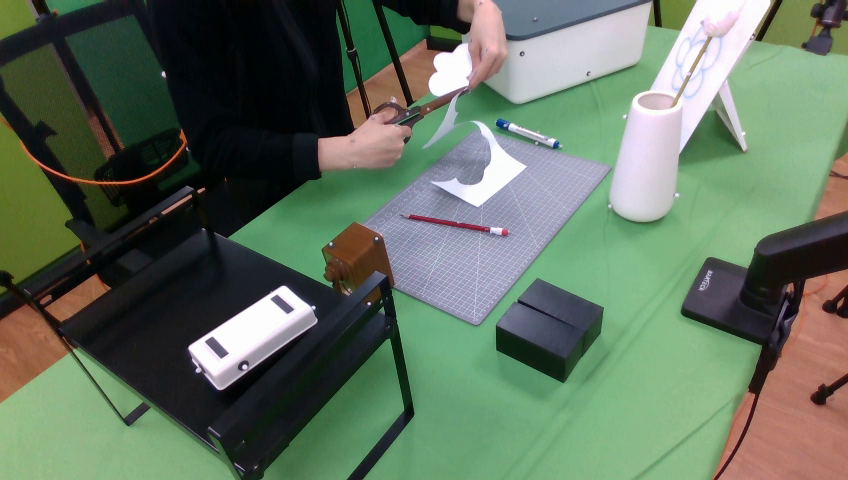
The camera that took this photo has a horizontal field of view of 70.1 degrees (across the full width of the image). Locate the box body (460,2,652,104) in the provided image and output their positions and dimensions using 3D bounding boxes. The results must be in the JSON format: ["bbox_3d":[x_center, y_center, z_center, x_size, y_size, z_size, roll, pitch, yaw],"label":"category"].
[{"bbox_3d":[0.291,-0.465,1.371,0.365,0.161,0.252,-22,42,-16],"label":"box body"}]

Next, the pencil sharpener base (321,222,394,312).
[{"bbox_3d":[-0.096,0.041,0.873,0.061,0.107,0.077,25,54,32],"label":"pencil sharpener base"}]

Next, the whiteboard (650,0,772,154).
[{"bbox_3d":[0.543,-0.298,1.076,0.144,0.305,0.216,12,40,-7],"label":"whiteboard"}]

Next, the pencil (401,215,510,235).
[{"bbox_3d":[0.049,-0.027,1.007,0.193,0.012,0.012,10,43,22],"label":"pencil"}]

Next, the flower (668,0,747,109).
[{"bbox_3d":[0.354,-0.187,0.879,0.038,0.362,0.044,30,48,14],"label":"flower"}]

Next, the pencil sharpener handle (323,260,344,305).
[{"bbox_3d":[-0.131,0.062,0.839,0.035,0.068,0.031,29,55,28],"label":"pencil sharpener handle"}]

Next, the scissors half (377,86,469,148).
[{"bbox_3d":[0.000,-0.204,0.997,0.175,0.040,0.012,-33,37,8],"label":"scissors half"}]

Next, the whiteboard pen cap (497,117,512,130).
[{"bbox_3d":[0.165,-0.235,1.226,0.033,0.018,0.018,31,53,31],"label":"whiteboard pen cap"}]

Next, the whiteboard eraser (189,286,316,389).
[{"bbox_3d":[-0.166,0.096,0.593,0.113,0.042,0.055,-36,47,-29],"label":"whiteboard eraser"}]

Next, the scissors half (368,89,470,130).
[{"bbox_3d":[-0.008,-0.218,0.983,0.175,0.040,0.012,-17,43,-6],"label":"scissors half"}]

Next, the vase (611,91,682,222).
[{"bbox_3d":[0.348,-0.125,0.935,0.098,0.201,0.097,-3,40,3],"label":"vase"}]

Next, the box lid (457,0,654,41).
[{"bbox_3d":[0.285,-0.522,1.323,0.373,0.015,0.261,-22,43,-16],"label":"box lid"}]

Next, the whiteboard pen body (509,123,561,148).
[{"bbox_3d":[0.209,-0.211,1.195,0.139,0.017,0.017,30,52,33],"label":"whiteboard pen body"}]
